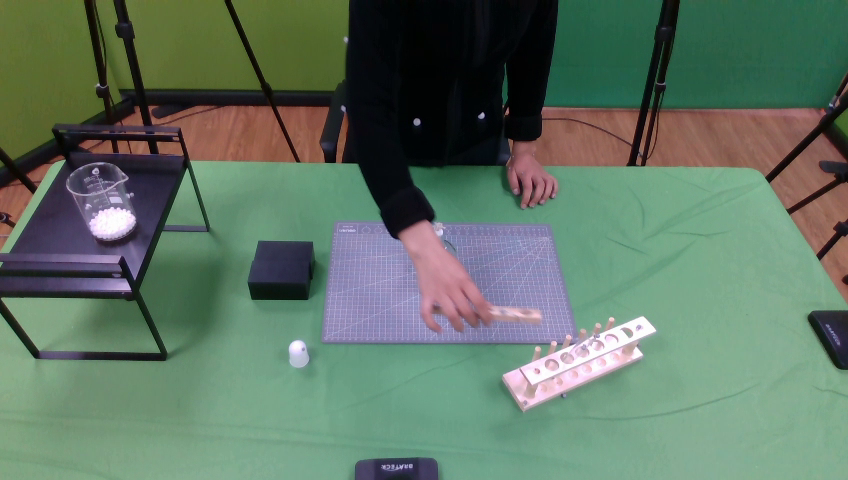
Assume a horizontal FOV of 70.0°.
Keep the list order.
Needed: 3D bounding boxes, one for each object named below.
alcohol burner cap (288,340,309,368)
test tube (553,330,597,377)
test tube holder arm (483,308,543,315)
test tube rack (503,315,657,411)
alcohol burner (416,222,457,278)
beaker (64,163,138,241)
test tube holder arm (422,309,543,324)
[{"bbox_3d":[-0.207,0.183,0.991,0.034,0.048,0.033,3,47,-2],"label":"alcohol burner cap"},{"bbox_3d":[0.227,0.176,0.924,0.017,0.151,0.017,6,55,-9],"label":"test tube"},{"bbox_3d":[0.132,0.111,0.904,0.088,0.015,0.010,2,34,1],"label":"test tube holder arm"},{"bbox_3d":[0.253,0.186,0.989,0.242,0.085,0.066,-18,50,-20],"label":"test tube rack"},{"bbox_3d":[0.024,0.013,1.116,0.078,0.120,0.077,1,45,-1],"label":"alcohol burner"},{"bbox_3d":[-0.477,-0.055,0.910,0.084,0.101,0.073,-9,48,-13],"label":"beaker"},{"bbox_3d":[0.087,0.113,0.900,0.178,0.015,0.013,2,34,0],"label":"test tube holder arm"}]
